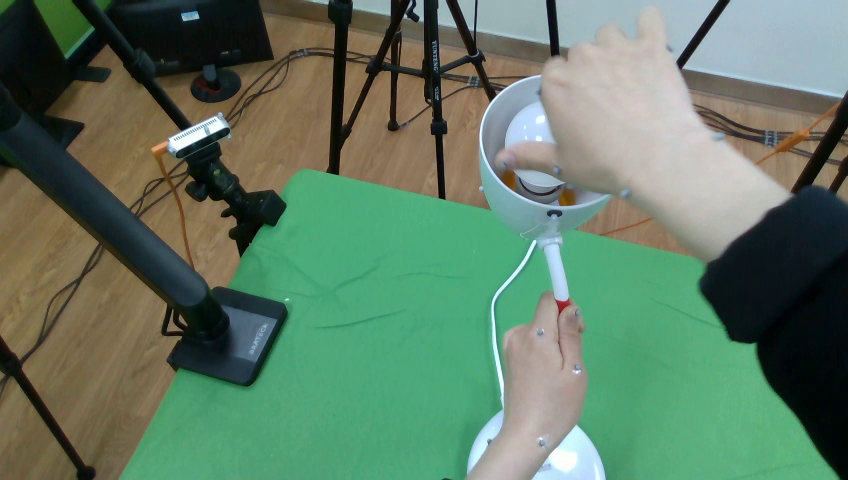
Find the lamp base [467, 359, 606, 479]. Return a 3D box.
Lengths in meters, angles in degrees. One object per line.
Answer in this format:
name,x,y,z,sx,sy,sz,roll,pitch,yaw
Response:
lamp base,0.124,0.214,0.648,0.161,0.182,0.177,-22,56,-14

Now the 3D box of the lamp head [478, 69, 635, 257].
lamp head,0.095,-0.050,0.477,0.112,0.124,0.111,0,63,1

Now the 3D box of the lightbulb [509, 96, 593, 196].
lightbulb,0.097,-0.064,0.454,0.059,0.108,0.059,-5,68,14
